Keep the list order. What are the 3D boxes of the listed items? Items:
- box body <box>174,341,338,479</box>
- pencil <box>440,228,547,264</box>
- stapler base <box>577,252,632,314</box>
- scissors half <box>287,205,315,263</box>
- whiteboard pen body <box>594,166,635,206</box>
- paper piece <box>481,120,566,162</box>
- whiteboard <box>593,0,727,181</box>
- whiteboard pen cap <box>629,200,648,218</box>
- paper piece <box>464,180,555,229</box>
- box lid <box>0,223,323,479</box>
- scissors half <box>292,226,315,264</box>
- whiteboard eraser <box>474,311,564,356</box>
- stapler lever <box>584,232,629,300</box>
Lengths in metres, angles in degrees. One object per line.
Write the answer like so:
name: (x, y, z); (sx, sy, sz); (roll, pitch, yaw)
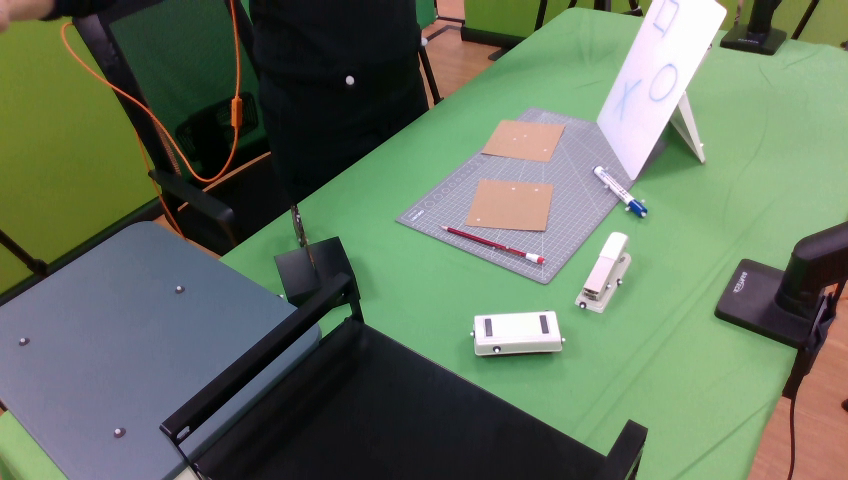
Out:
box body: (-0.311, 0.165, 0.720); (0.361, 0.161, 0.255); (23, 49, 32)
pencil: (0.105, 0.006, 0.958); (0.192, 0.012, 0.012); (18, 46, 30)
stapler base: (0.264, 0.051, 0.875); (0.041, 0.024, 0.131); (16, 47, 30)
scissors half: (-0.191, -0.010, 0.944); (0.013, 0.040, 0.173); (-19, 38, -15)
whiteboard pen body: (0.330, -0.085, 1.027); (0.017, 0.017, 0.139); (-17, 42, -10)
paper piece: (0.197, -0.199, 1.188); (0.135, 0.004, 0.135); (11, 44, 21)
whiteboard: (0.452, -0.272, 1.056); (0.144, 0.305, 0.216); (9, 38, -12)
whiteboard pen cap: (0.348, -0.052, 0.984); (0.018, 0.018, 0.033); (-18, 41, -12)
paper piece: (0.149, -0.062, 1.035); (0.137, 0.009, 0.136); (4, 37, 17)
box lid: (-0.318, 0.109, 0.671); (0.368, 0.015, 0.264); (24, 49, 31)
scissors half: (-0.188, 0.007, 0.955); (0.013, 0.040, 0.174); (-24, 22, -12)
whiteboard eraser: (0.123, 0.125, 0.794); (0.113, 0.042, 0.055); (-5, 39, 3)
stapler lever: (0.260, 0.034, 0.858); (0.026, 0.040, 0.118); (16, 46, 30)
